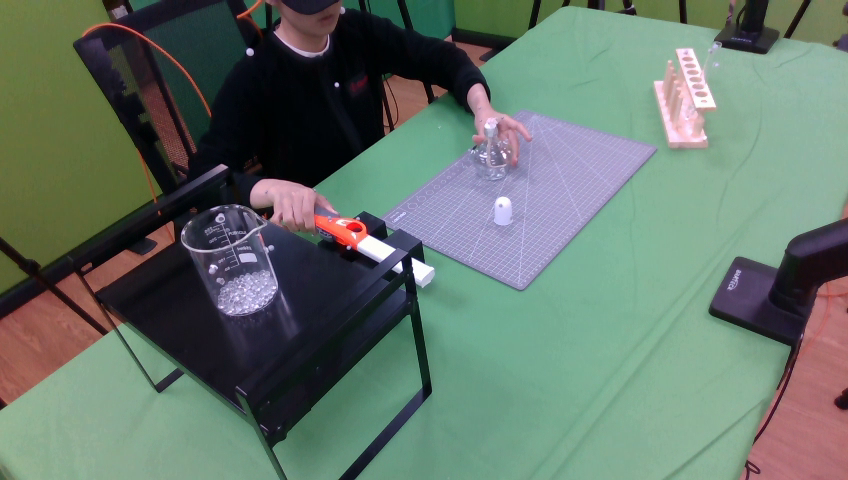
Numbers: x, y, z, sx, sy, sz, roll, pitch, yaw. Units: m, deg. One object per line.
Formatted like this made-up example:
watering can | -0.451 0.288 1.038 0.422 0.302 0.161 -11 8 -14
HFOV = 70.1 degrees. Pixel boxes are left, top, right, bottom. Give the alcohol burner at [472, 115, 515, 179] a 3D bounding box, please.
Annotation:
alcohol burner | 0.123 -0.169 1.079 0.078 0.119 0.077 -6 41 6

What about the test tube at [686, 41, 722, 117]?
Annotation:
test tube | 0.510 -0.290 1.105 0.017 0.150 0.017 2 44 -1

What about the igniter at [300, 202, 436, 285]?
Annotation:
igniter | -0.095 -0.001 0.911 0.274 0.025 0.057 26 51 32

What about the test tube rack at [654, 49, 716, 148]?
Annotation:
test tube rack | 0.502 -0.280 1.176 0.066 0.085 0.241 2 41 11

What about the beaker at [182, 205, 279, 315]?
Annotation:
beaker | -0.197 0.024 0.641 0.084 0.101 0.073 -12 41 -6

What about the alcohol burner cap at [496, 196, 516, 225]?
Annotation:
alcohol burner cap | 0.134 -0.051 0.995 0.034 0.048 0.033 -5 42 5
